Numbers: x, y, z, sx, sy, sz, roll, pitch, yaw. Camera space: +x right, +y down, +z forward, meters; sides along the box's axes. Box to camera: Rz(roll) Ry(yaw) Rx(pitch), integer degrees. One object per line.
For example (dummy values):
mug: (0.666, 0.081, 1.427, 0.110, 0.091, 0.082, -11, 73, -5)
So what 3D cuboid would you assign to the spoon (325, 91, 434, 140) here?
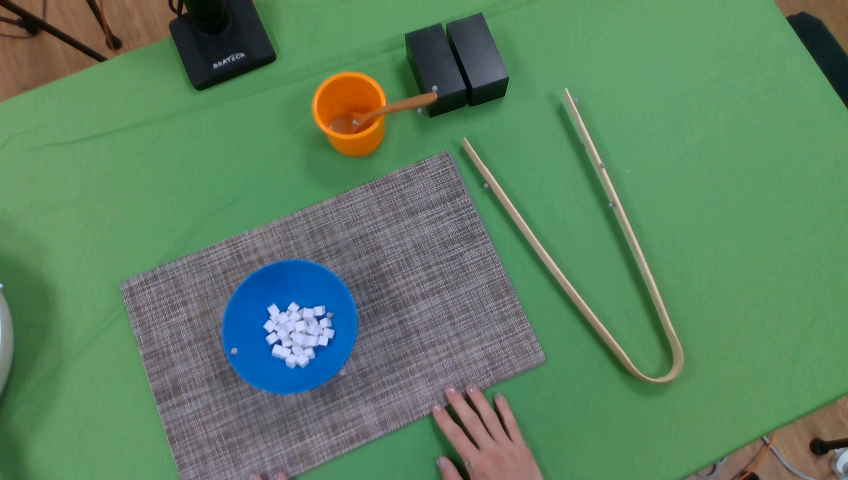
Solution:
spoon: (-0.060, -0.155, 0.740, 0.022, 0.192, 0.041, 26, 69, -38)

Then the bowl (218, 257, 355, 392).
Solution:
bowl: (-0.151, 0.102, 0.708, 0.151, 0.077, 0.150, 0, 76, 0)

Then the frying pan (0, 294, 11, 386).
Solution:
frying pan: (-0.562, 0.209, 0.671, 0.307, 0.103, 0.484, -36, 70, -7)

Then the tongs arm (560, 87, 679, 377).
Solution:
tongs arm: (0.232, -0.018, 0.763, 0.051, 0.026, 0.382, -21, 78, -4)

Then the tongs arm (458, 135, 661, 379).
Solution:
tongs arm: (0.159, 0.018, 0.759, 0.028, 0.028, 0.385, -34, 78, -10)
